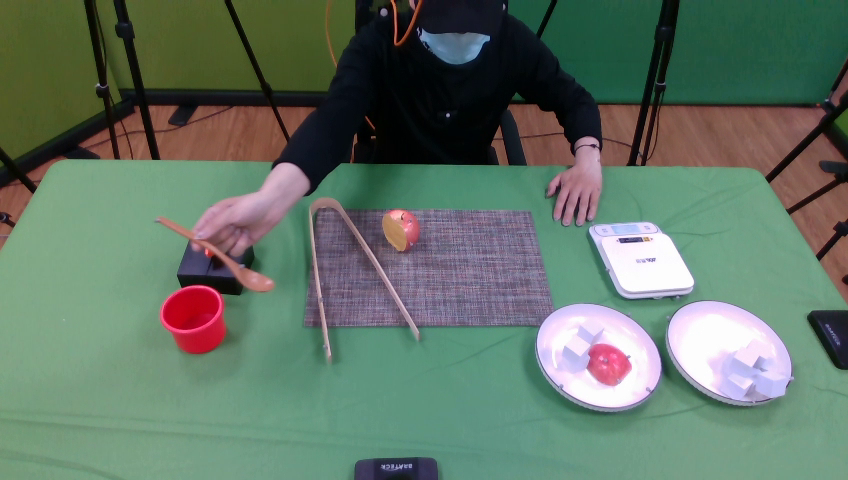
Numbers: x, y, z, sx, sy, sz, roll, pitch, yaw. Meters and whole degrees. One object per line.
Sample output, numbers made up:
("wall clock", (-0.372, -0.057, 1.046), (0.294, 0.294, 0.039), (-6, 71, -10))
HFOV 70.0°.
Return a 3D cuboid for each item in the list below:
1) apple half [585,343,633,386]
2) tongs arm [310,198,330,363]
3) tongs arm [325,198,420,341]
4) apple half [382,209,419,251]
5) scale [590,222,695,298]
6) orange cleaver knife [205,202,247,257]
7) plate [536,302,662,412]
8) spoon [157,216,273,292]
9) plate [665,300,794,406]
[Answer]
("apple half", (0.309, 0.198, 1.008), (0.081, 0.033, 0.081), (4, 48, -4))
("tongs arm", (-0.180, 0.058, 1.117), (0.051, 0.026, 0.382), (-9, 47, -11))
("tongs arm", (-0.101, 0.042, 1.139), (0.028, 0.028, 0.385), (-22, 51, -17))
("apple half", (-0.039, -0.022, 1.175), (0.053, 0.075, 0.080), (-27, 50, -31))
("scale", (0.424, 0.031, 1.189), (0.149, 0.032, 0.199), (-3, 46, -7))
("orange cleaver knife", (-0.374, -0.024, 1.151), (0.012, 0.077, 0.210), (4, 16, 1))
("plate", (0.288, 0.197, 1.016), (0.209, 0.038, 0.208), (2, 46, -2))
("spoon", (-0.312, 0.020, 0.909), (0.194, 0.021, 0.041), (39, 30, -14))
("plate", (0.513, 0.194, 1.034), (0.208, 0.039, 0.206), (2, 46, -2))
